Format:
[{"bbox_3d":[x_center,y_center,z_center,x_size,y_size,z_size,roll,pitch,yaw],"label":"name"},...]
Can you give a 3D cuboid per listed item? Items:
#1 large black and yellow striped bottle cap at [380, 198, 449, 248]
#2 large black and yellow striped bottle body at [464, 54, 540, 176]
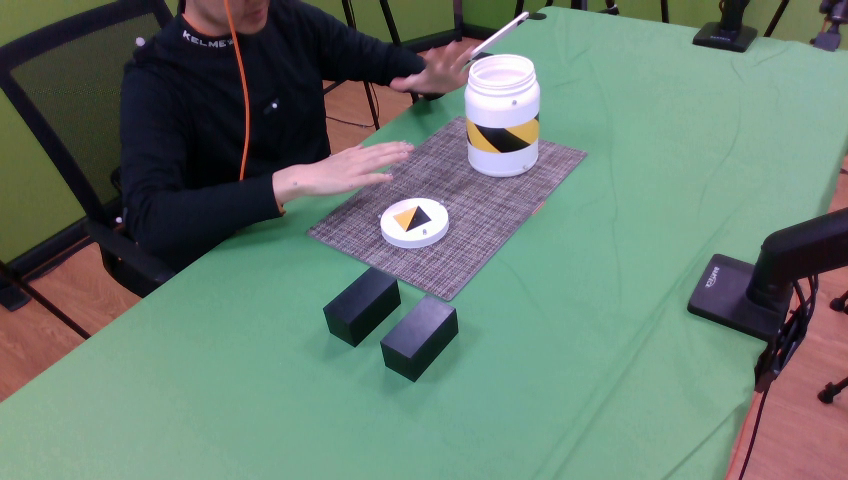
[{"bbox_3d":[-0.016,-0.030,1.004,0.115,0.019,0.114,-4,40,4],"label":"large black and yellow striped bottle cap"},{"bbox_3d":[0.139,-0.221,1.075,0.131,0.185,0.130,-4,41,4],"label":"large black and yellow striped bottle body"}]
